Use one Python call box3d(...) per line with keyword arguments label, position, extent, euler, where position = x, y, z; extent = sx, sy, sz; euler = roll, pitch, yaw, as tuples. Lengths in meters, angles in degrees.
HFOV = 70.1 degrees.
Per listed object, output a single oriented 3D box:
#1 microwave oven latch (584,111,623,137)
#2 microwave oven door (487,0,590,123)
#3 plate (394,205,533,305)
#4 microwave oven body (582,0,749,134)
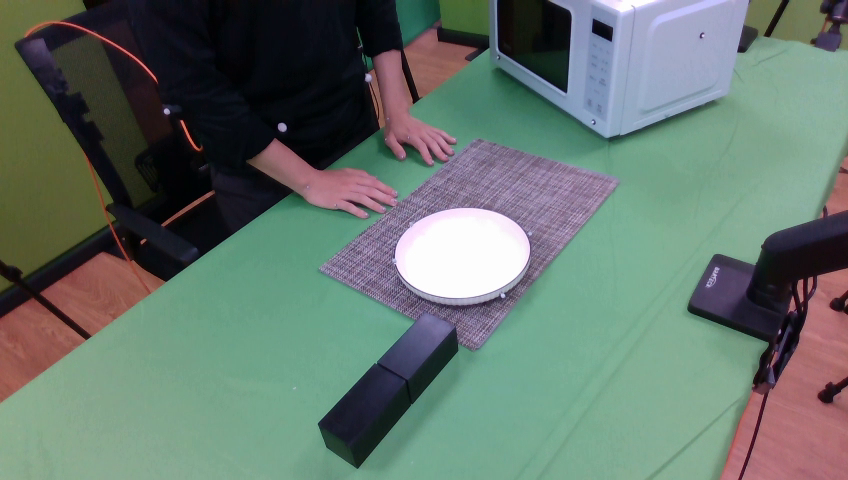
box3d(label="microwave oven latch", position=(0.337, -0.222, 1.142), extent=(0.030, 0.029, 0.078), euler=(-21, 42, -14))
box3d(label="microwave oven door", position=(0.232, -0.420, 1.231), extent=(0.039, 0.245, 0.352), euler=(-22, 43, -16))
box3d(label="plate", position=(0.059, 0.025, 0.915), extent=(0.207, 0.039, 0.206), euler=(-4, 41, 4))
box3d(label="microwave oven body", position=(0.382, -0.444, 1.246), extent=(0.327, 0.261, 0.437), euler=(-22, 42, -16))
